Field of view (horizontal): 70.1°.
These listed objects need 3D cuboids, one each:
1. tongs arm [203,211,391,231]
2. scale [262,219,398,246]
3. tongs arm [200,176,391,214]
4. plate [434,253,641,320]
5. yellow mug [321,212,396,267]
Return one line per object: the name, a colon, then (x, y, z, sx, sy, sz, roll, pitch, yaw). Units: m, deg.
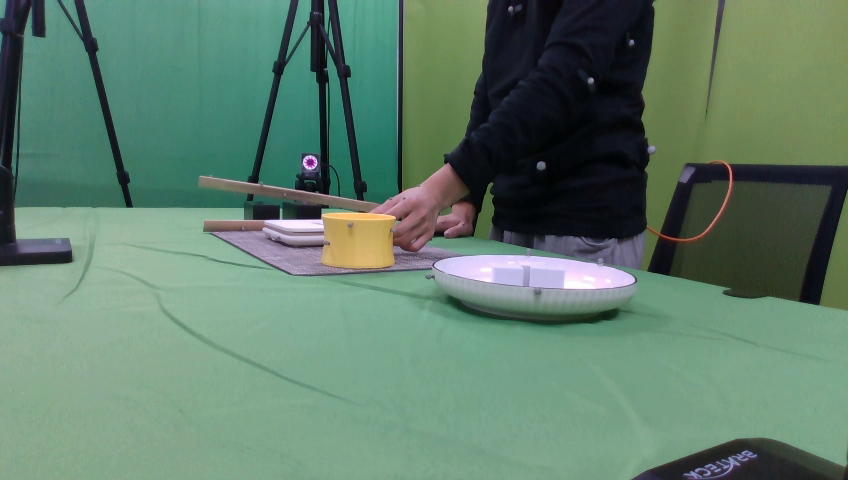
tongs arm: (-0.231, -0.036, 1.185, 0.390, 0.028, 0.028, -3, 33, -33)
scale: (-0.160, -0.016, 1.028, 0.202, 0.031, 0.148, -1, 9, -31)
tongs arm: (-0.258, -0.084, 1.245, 0.387, 0.026, 0.050, 6, 32, -22)
plate: (0.114, 0.047, 0.625, 0.208, 0.039, 0.207, 2, 7, 0)
yellow mug: (-0.088, -0.005, 0.824, 0.100, 0.064, 0.131, 1, 6, -2)
